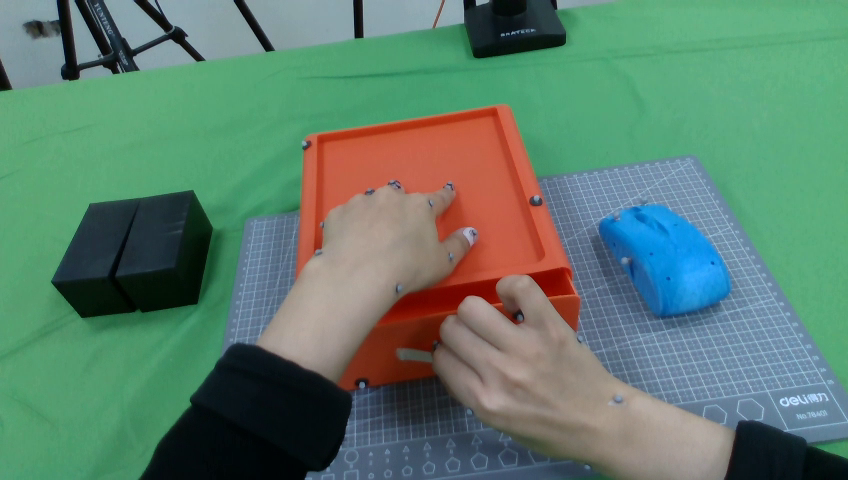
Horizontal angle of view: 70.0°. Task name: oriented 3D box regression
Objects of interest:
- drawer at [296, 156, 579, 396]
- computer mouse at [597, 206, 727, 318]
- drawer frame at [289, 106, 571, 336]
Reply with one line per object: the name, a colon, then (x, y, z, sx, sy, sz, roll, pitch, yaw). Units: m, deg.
drawer: (0.001, 0.009, 0.498, 0.194, 0.074, 0.209, -10, 45, 0)
computer mouse: (0.192, 0.011, 0.496, 0.063, 0.041, 0.116, -15, 42, -3)
drawer frame: (-0.003, -0.011, 0.515, 0.202, 0.083, 0.211, -10, 45, 0)
